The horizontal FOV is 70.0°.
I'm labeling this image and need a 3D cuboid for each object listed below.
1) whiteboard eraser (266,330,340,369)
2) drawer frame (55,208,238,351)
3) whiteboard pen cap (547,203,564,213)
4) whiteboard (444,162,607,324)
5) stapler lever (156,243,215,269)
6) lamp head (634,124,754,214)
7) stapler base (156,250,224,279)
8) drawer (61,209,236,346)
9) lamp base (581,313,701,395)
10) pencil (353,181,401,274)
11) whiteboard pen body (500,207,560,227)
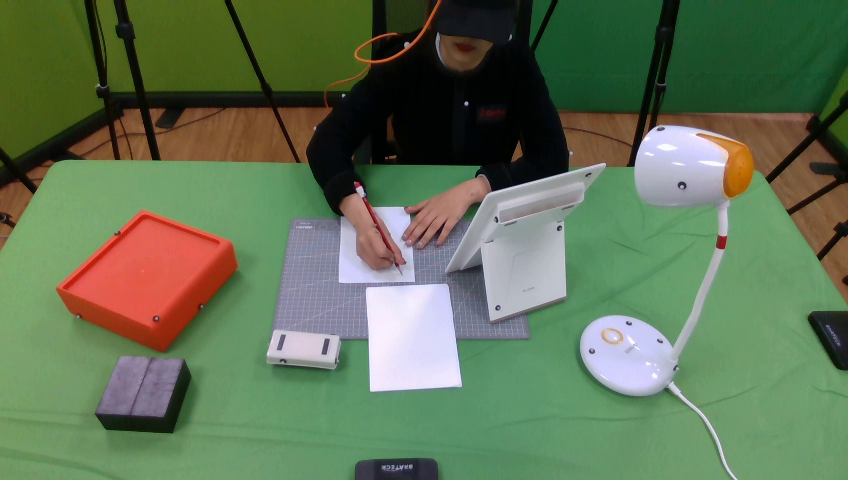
[{"bbox_3d":[-0.198,0.181,0.994,0.113,0.042,0.055,5,45,1],"label":"whiteboard eraser"},{"bbox_3d":[-0.474,0.062,1.060,0.201,0.083,0.213,18,48,12],"label":"drawer frame"},{"bbox_3d":[0.277,-0.066,1.275,0.033,0.018,0.018,-18,50,-15],"label":"whiteboard pen cap"},{"bbox_3d":[0.186,0.025,1.029,0.217,0.306,0.143,-15,68,-18],"label":"whiteboard"},{"bbox_3d":[-0.433,0.023,1.097,0.118,0.040,0.026,14,39,14],"label":"stapler lever"},{"bbox_3d":[0.351,-0.089,0.776,0.112,0.113,0.122,-30,30,-28],"label":"lamp head"},{"bbox_3d":[-0.431,0.040,1.111,0.130,0.024,0.041,11,38,17],"label":"stapler base"},{"bbox_3d":[-0.474,0.061,1.063,0.194,0.073,0.211,19,49,13],"label":"drawer"},{"bbox_3d":[0.361,0.144,0.973,0.178,0.181,0.160,34,53,23],"label":"lamp base"},{"bbox_3d":[-0.085,-0.021,1.123,0.012,0.194,0.012,-25,11,5],"label":"pencil"},{"bbox_3d":[0.222,-0.051,1.259,0.141,0.017,0.017,-15,49,-16],"label":"whiteboard pen body"}]
